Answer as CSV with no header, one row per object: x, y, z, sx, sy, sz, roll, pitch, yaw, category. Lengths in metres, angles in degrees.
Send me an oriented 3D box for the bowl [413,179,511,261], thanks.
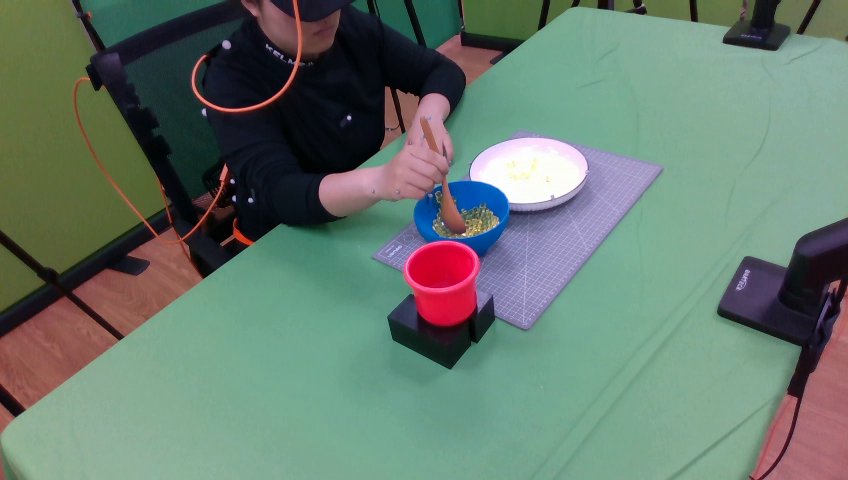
0.062,-0.021,0.948,0.151,0.077,0.150,-5,40,5,bowl

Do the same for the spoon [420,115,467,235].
0.025,-0.088,0.863,0.041,0.194,0.022,9,35,41,spoon

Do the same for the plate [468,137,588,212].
0.182,-0.112,1.064,0.207,0.039,0.206,-5,40,5,plate
